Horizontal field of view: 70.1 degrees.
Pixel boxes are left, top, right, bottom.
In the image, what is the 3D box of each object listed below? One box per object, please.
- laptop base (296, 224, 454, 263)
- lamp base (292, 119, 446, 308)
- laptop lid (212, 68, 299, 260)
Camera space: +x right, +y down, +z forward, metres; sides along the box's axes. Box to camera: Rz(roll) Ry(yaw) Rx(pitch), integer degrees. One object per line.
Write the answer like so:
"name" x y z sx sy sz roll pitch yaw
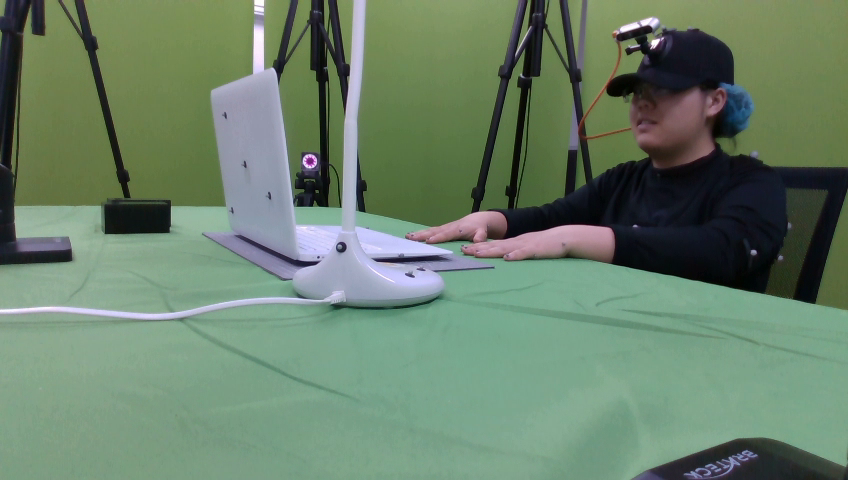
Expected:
"laptop base" -0.143 0.003 0.957 0.237 0.023 0.352 2 7 -32
"lamp base" -0.056 -0.030 0.616 0.160 0.180 0.179 4 10 8
"laptop lid" -0.253 -0.110 0.872 0.013 0.241 0.355 -11 14 -30
